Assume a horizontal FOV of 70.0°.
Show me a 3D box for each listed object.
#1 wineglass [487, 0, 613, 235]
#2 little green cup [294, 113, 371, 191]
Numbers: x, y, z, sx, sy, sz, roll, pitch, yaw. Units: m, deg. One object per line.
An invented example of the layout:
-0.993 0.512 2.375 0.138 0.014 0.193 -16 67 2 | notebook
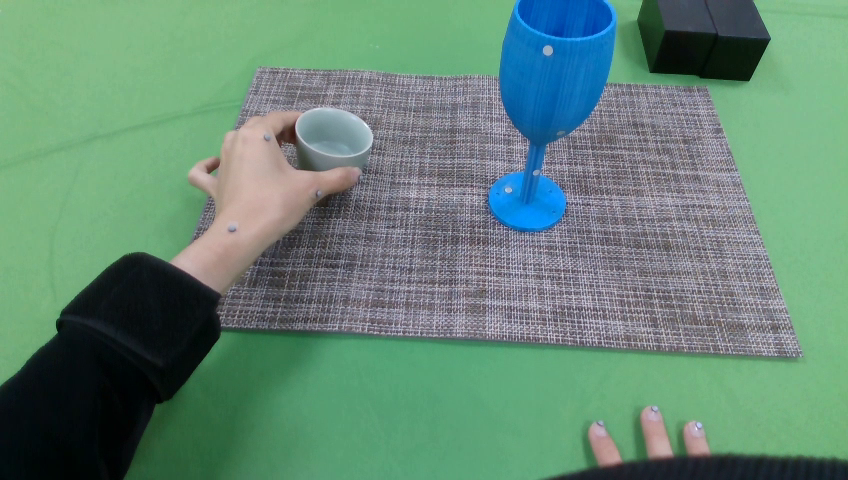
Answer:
0.084 -0.083 0.436 0.074 0.174 0.073 0 51 0 | wineglass
-0.077 -0.070 0.493 0.062 0.039 0.061 10 45 -10 | little green cup
